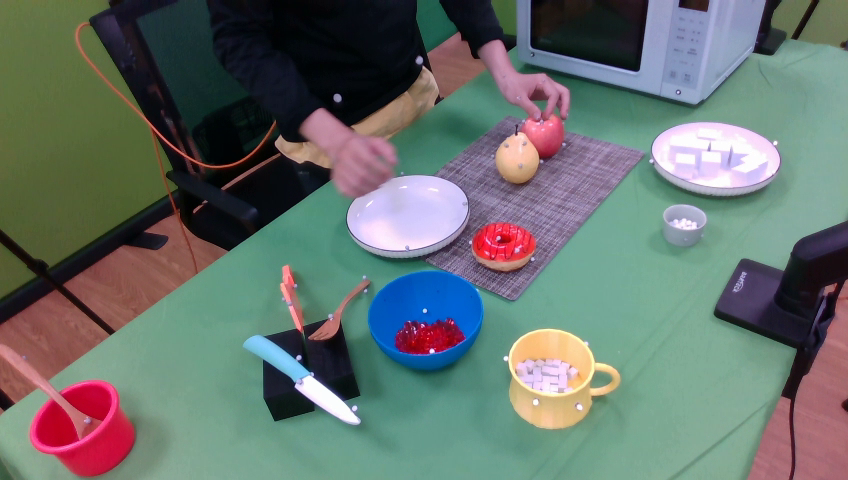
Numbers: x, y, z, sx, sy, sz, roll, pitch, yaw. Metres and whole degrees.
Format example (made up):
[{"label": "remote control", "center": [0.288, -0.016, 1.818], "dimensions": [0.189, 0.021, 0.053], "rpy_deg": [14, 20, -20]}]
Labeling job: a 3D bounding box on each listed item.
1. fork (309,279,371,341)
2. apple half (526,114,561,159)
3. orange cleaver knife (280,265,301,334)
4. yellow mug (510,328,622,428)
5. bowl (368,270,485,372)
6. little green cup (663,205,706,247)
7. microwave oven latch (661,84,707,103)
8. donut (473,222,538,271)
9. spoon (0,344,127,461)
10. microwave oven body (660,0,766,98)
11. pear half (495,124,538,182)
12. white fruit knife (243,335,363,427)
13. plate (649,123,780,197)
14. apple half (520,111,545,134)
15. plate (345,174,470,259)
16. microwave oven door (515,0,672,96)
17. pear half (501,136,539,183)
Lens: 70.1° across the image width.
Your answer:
[{"label": "fork", "center": [-0.109, 0.093, 0.832], "dimensions": [0.028, 0.018, 0.207], "rpy_deg": [-4, 19, 15]}, {"label": "apple half", "center": [0.225, -0.189, 1.118], "dimensions": [0.053, 0.075, 0.081], "rpy_deg": [15, 34, 24]}, {"label": "orange cleaver knife", "center": [-0.188, 0.081, 0.862], "dimensions": [0.012, 0.077, 0.210], "rpy_deg": [-20, 12, -9]}, {"label": "yellow mug", "center": [0.168, 0.164, 0.722], "dimensions": [0.130, 0.064, 0.099], "rpy_deg": [0, 40, 8]}, {"label": "bowl", "center": [0.007, 0.118, 0.791], "dimensions": [0.151, 0.077, 0.150], "rpy_deg": [-5, 40, 4]}, {"label": "little green cup", "center": [0.396, -0.021, 0.926], "dimensions": [0.061, 0.039, 0.061], "rpy_deg": [-4, 40, 4]}, {"label": "microwave oven latch", "center": [0.517, -0.296, 1.204], "dimensions": [0.078, 0.029, 0.030], "rpy_deg": [27, 52, 35]}, {"label": "donut", "center": [0.123, 0.009, 0.923], "dimensions": [0.099, 0.048, 0.098], "rpy_deg": [-3, 37, 3]}, {"label": "spoon", "center": [-0.433, 0.191, 0.721], "dimensions": [0.194, 0.021, 0.042], "rpy_deg": [47, 53, -6]}, {"label": "microwave oven body", "center": [0.472, -0.513, 1.317], "dimensions": [0.438, 0.261, 0.327], "rpy_deg": [26, 51, 34]}, {"label": "pear half", "center": [0.160, -0.162, 1.067], "dimensions": [0.076, 0.110, 0.055], "rpy_deg": [-17, 41, -15]}, {"label": "white fruit knife", "center": [-0.148, 0.167, 0.729], "dimensions": [0.206, 0.016, 0.027], "rpy_deg": [27, 80, 31]}, {"label": "plate", "center": [0.497, -0.135, 1.046], "dimensions": [0.207, 0.039, 0.206], "rpy_deg": [-4, 40, 4]}, {"label": "apple half", "center": [0.200, -0.203, 1.138], "dimensions": [0.032, 0.081, 0.081], "rpy_deg": [22, 48, 32]}, {"label": "plate", "center": [-0.026, -0.037, 1.004], "dimensions": [0.209, 0.038, 0.208], "rpy_deg": [-4, 40, 4]}, {"label": "microwave oven door", "center": [0.343, -0.455, 1.259], "dimensions": [0.353, 0.245, 0.039], "rpy_deg": [26, 51, 33]}, {"label": "pear half", "center": [0.172, -0.134, 1.048], "dimensions": [0.071, 0.088, 0.031], "rpy_deg": [-16, 40, -16]}]
